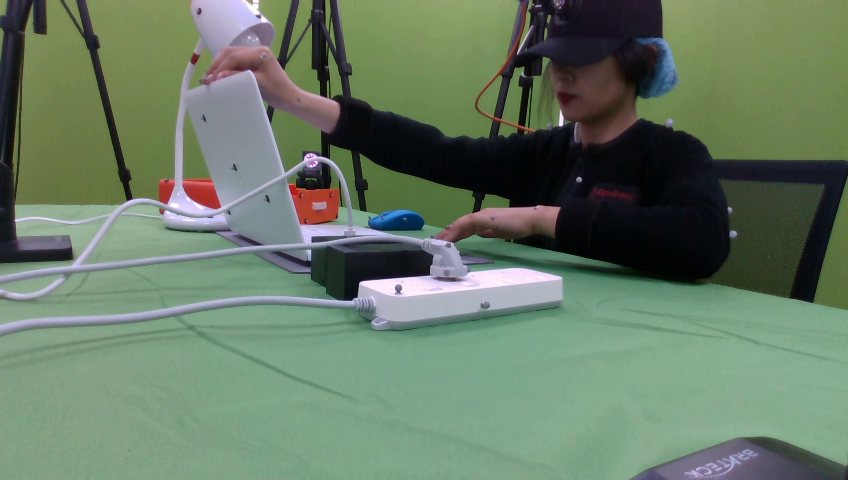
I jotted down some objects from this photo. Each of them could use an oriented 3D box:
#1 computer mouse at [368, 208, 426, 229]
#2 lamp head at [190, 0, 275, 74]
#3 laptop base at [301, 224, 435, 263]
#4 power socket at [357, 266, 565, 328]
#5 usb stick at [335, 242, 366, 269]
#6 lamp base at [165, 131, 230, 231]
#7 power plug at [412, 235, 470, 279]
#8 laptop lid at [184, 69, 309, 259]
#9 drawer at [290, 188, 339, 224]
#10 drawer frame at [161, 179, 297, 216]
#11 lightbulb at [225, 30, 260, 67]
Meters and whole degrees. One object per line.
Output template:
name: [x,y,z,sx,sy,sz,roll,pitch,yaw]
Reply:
computer mouse: [-0.057,-0.044,1.267,0.118,0.041,0.062,-6,12,-28]
lamp head: [-0.330,-0.355,1.008,0.123,0.112,0.112,43,15,6]
laptop base: [-0.135,0.002,0.949,0.237,0.023,0.352,1,7,-33]
power socket: [0.041,0.049,0.572,0.228,0.032,0.072,-3,8,-35]
usb stick: [-0.094,0.017,0.747,0.021,0.027,0.059,-5,10,-34]
lamp base: [-0.407,-0.111,1.119,0.179,0.180,0.161,-1,7,7]
power plug: [0.017,0.023,0.588,0.035,0.052,0.072,-1,8,-24]
laptop lid: [-0.262,-0.104,0.850,0.013,0.242,0.355,-24,21,-28]
drawer: [-0.315,-0.079,1.301,0.211,0.073,0.195,4,8,15]
drawer frame: [-0.421,-0.089,1.329,0.213,0.082,0.202,4,8,16]
lightbulb: [-0.318,-0.334,1.001,0.107,0.059,0.059,45,15,5]
